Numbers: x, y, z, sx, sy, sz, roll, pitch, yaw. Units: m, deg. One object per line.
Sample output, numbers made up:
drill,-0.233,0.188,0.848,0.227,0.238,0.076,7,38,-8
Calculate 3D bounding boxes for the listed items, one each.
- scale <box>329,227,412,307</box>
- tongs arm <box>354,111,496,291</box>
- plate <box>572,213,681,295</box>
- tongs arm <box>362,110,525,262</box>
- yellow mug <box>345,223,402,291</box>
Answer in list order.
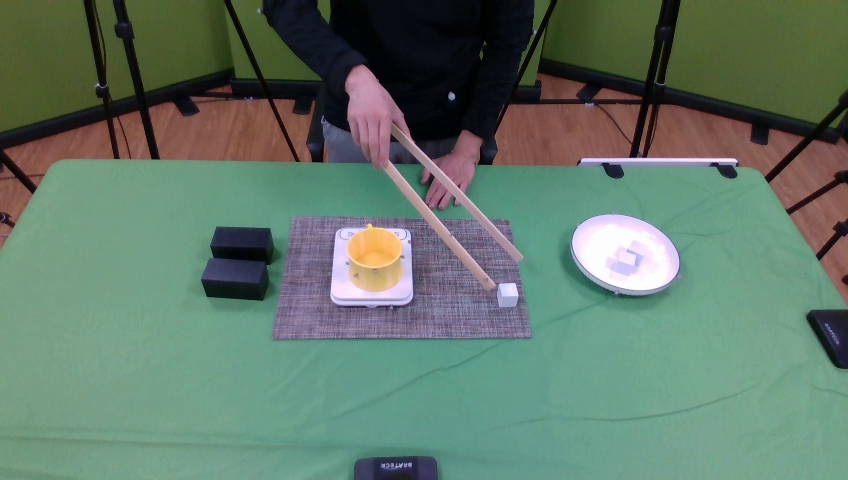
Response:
scale,-0.099,0.042,1.139,0.149,0.032,0.199,1,46,-4
tongs arm,0.003,-0.070,1.061,0.384,0.026,0.050,48,58,3
plate,0.392,0.030,1.189,0.208,0.039,0.206,2,46,-2
tongs arm,0.036,-0.098,1.090,0.387,0.028,0.028,44,61,0
yellow mug,-0.092,0.022,1.093,0.100,0.064,0.130,-7,46,-10
